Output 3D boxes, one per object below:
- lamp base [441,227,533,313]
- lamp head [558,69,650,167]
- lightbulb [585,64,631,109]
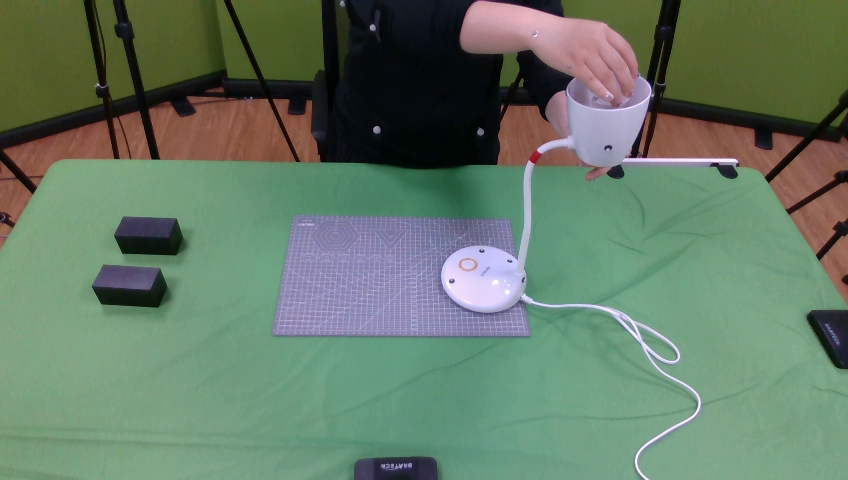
[{"bbox_3d":[0.126,0.022,1.071,0.179,0.181,0.160,23,49,14],"label":"lamp base"},{"bbox_3d":[0.250,-0.164,0.859,0.112,0.123,0.111,0,42,0],"label":"lamp head"},{"bbox_3d":[0.252,-0.189,0.839,0.059,0.108,0.059,-3,40,3],"label":"lightbulb"}]
